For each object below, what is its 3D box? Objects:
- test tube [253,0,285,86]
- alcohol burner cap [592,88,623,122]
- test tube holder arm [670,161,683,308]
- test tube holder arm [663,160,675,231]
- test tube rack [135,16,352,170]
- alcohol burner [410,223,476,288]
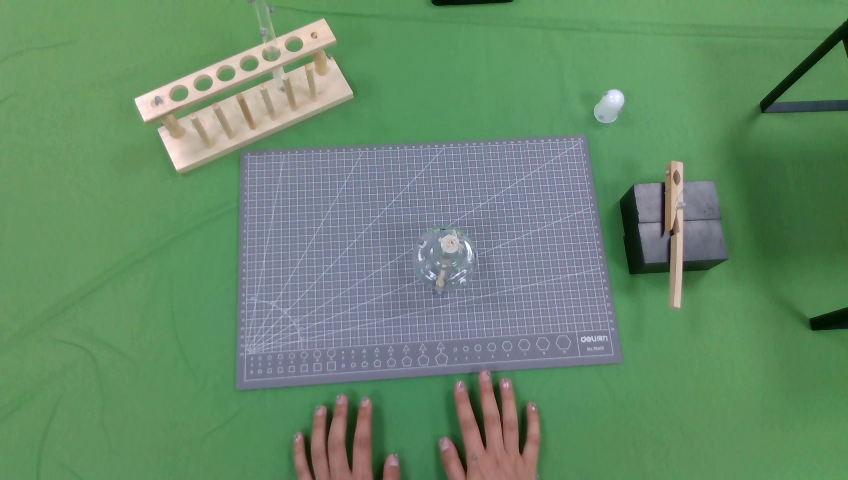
[{"bbox_3d":[-0.181,-0.232,0.718,0.017,0.151,0.017,1,68,-3],"label":"test tube"},{"bbox_3d":[0.243,-0.180,0.795,0.034,0.048,0.033,0,73,-1],"label":"alcohol burner cap"},{"bbox_3d":[0.294,-0.009,0.710,0.013,0.015,0.177,4,75,0],"label":"test tube holder arm"},{"bbox_3d":[0.292,-0.053,0.722,0.010,0.015,0.087,6,75,1],"label":"test tube holder arm"},{"bbox_3d":[-0.215,-0.181,0.752,0.242,0.085,0.066,-27,76,-10],"label":"test tube rack"},{"bbox_3d":[0.023,0.014,0.688,0.078,0.119,0.077,1,74,-3],"label":"alcohol burner"}]
